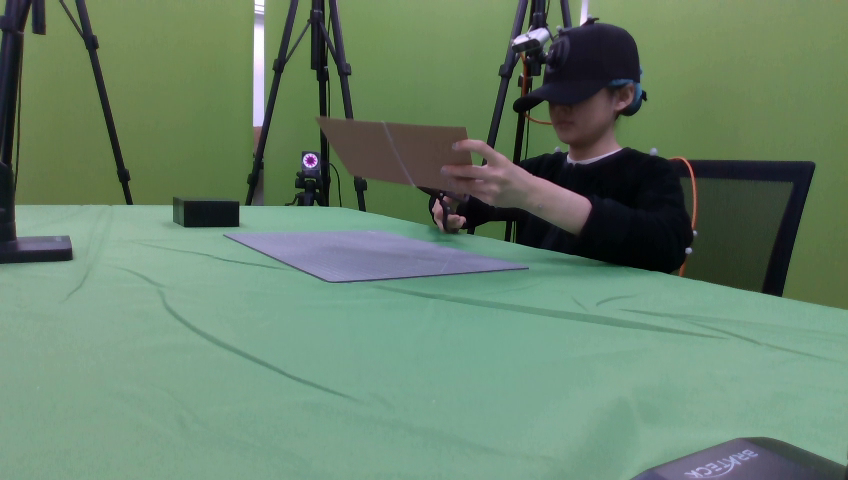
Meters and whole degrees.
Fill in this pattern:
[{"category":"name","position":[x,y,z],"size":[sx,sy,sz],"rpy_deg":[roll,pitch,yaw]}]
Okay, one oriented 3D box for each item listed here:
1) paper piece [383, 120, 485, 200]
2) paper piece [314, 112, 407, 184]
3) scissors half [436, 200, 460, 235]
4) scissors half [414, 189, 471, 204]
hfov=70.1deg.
[{"category":"paper piece","position":[0.016,-0.115,0.884],"size":[0.135,0.136,0.004],"rpy_deg":[12,54,30]},{"category":"paper piece","position":[-0.095,-0.144,0.952],"size":[0.137,0.136,0.008],"rpy_deg":[11,53,30]},{"category":"scissors half","position":[0.026,-0.061,1.042],"size":[0.013,0.040,0.176],"rpy_deg":[12,-28,33]},{"category":"scissors half","position":[0.034,-0.083,1.044],"size":[0.012,0.040,0.176],"rpy_deg":[17,11,34]}]
